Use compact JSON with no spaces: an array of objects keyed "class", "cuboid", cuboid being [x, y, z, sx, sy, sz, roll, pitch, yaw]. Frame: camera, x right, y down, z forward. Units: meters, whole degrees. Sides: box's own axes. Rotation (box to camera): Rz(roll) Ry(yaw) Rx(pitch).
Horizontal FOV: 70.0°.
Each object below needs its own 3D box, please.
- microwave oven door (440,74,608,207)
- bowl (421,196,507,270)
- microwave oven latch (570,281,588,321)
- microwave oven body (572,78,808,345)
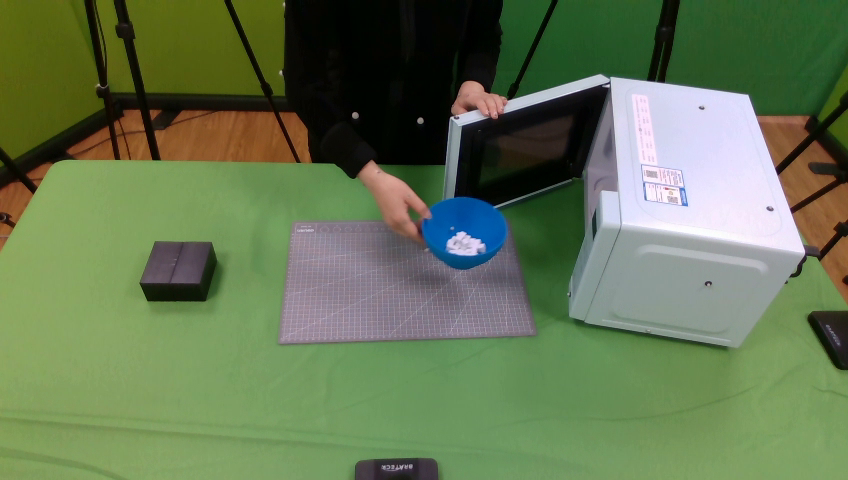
[{"class":"microwave oven door","cuboid":[0.199,-0.185,1.215,0.356,0.245,0.039,-20,51,-22]},{"class":"bowl","cuboid":[0.068,0.000,1.078,0.151,0.077,0.150,2,45,-1]},{"class":"microwave oven latch","cuboid":[0.276,0.105,1.083,0.030,0.029,0.079,9,45,6]},{"class":"microwave oven body","cuboid":[0.456,-0.063,1.125,0.326,0.261,0.439,8,45,5]}]
